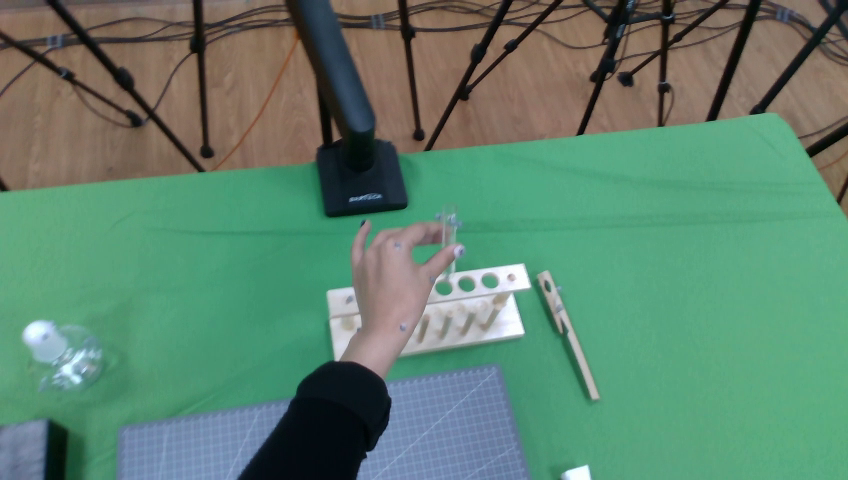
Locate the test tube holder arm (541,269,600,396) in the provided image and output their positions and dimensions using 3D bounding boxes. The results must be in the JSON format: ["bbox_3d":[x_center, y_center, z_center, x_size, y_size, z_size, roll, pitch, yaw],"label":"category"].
[{"bbox_3d":[0.190,0.118,0.791,0.013,0.015,0.177,-29,63,17],"label":"test tube holder arm"}]

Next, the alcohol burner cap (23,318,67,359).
[{"bbox_3d":[-0.399,0.100,0.633,0.034,0.048,0.033,6,53,-8],"label":"alcohol burner cap"}]

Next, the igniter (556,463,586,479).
[{"bbox_3d":[0.204,0.379,0.641,0.057,0.025,0.274,-6,61,-22],"label":"igniter"}]

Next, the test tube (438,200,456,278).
[{"bbox_3d":[0.024,0.003,0.625,0.017,0.151,0.017,-1,62,1],"label":"test tube"}]

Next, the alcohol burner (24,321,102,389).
[{"bbox_3d":[-0.402,0.120,0.663,0.078,0.120,0.077,2,59,-3],"label":"alcohol burner"}]

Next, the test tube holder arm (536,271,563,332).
[{"bbox_3d":[0.171,0.082,0.812,0.010,0.015,0.087,-28,64,18],"label":"test tube holder arm"}]

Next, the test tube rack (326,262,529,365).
[{"bbox_3d":[0.006,0.090,0.747,0.243,0.086,0.066,-7,62,-11],"label":"test tube rack"}]
